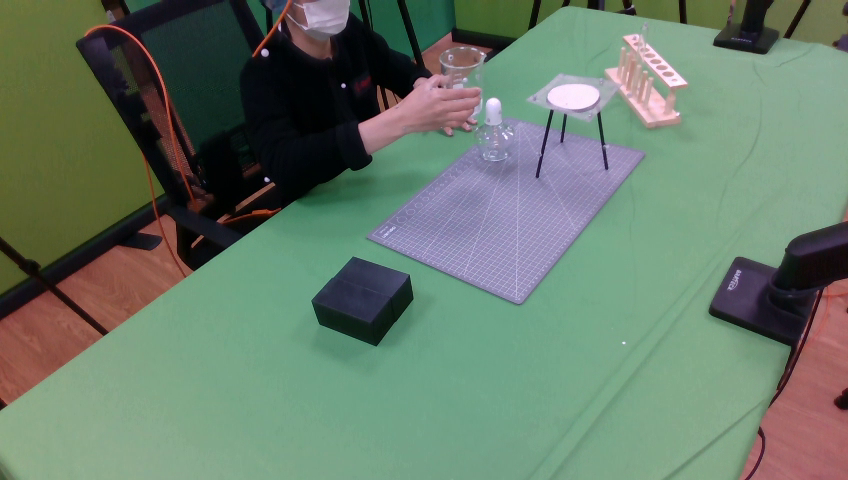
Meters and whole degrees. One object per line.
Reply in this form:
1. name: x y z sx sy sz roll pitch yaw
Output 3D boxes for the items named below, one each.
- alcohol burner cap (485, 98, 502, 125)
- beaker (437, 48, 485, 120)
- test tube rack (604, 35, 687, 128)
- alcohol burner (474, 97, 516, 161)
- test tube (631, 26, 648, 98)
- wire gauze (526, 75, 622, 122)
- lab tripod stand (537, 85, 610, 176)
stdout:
1. alcohol burner cap: 0.126 -0.234 1.097 0.034 0.048 0.033 -3 39 3
2. beaker: 0.065 -0.264 1.029 0.084 0.100 0.073 -19 45 -15
3. test tube rack: 0.447 -0.330 1.241 0.067 0.085 0.241 -9 41 -2
4. alcohol burner: 0.131 -0.208 1.121 0.078 0.119 0.077 -6 40 5
5. test tube: 0.427 -0.350 1.199 0.017 0.151 0.017 -4 42 4
6. wire gauze: 0.255 -0.248 1.030 0.124 0.011 0.122 24 51 32
7. lab tripod stand: 0.259 -0.192 1.068 0.148 0.132 0.147 -4 43 4
